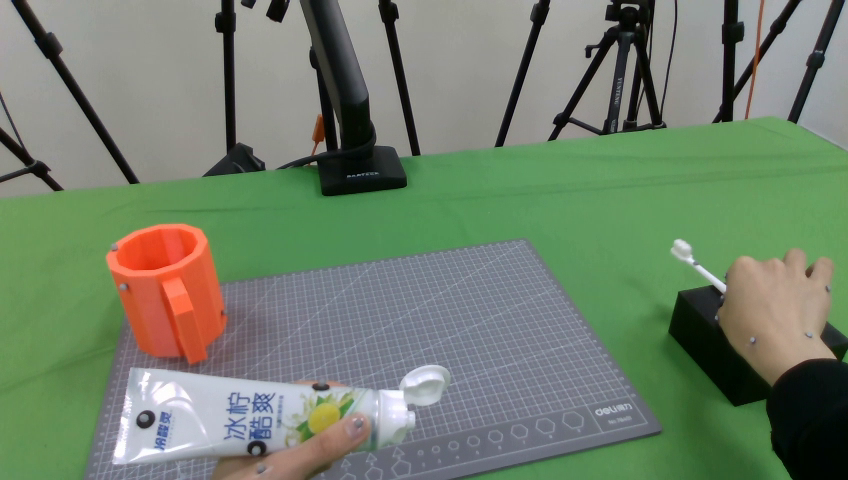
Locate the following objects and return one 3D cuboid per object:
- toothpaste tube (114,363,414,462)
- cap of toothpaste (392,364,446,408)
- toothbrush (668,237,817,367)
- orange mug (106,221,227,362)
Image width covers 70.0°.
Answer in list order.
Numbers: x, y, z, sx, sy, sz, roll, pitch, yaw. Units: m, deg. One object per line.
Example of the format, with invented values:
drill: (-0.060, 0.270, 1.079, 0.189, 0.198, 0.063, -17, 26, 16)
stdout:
toothpaste tube: (-0.088, 0.100, 0.354, 0.165, 0.035, 0.054, 3, 58, -11)
cap of toothpaste: (-0.002, 0.094, 0.386, 0.037, 0.037, 0.011, -11, 39, -14)
toothbrush: (0.281, 0.049, 0.548, 0.014, 0.017, 0.180, -11, 35, -14)
orange mug: (-0.232, 0.052, 0.562, 0.083, 0.101, 0.125, -20, 34, -26)
